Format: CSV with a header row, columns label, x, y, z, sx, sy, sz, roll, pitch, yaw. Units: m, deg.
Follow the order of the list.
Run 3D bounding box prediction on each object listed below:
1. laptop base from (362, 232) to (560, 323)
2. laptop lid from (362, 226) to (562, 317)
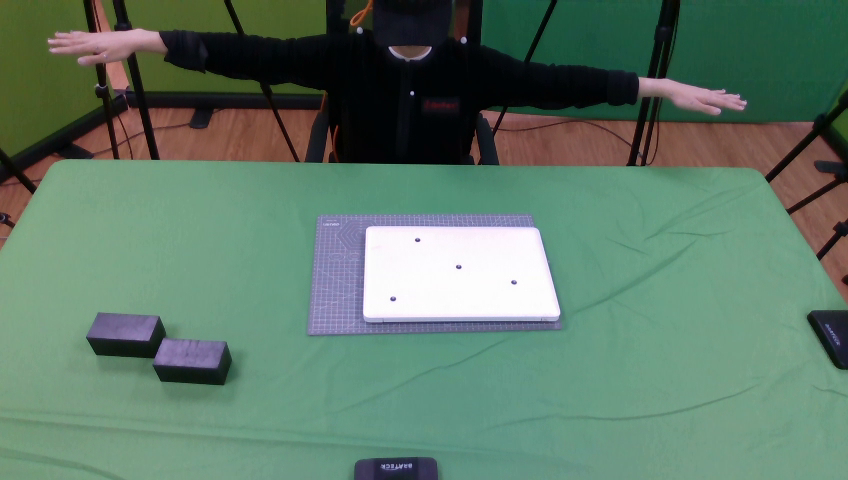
label,x,y,z,sx,sy,sz,roll,pitch,yaw
laptop base,0.064,0.063,1.143,0.355,0.023,0.234,0,43,-4
laptop lid,0.064,0.053,1.136,0.357,0.013,0.240,1,44,-3
